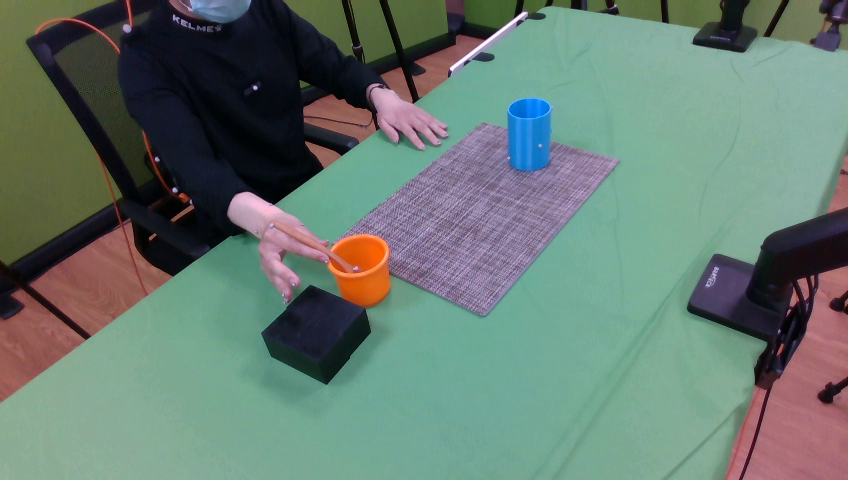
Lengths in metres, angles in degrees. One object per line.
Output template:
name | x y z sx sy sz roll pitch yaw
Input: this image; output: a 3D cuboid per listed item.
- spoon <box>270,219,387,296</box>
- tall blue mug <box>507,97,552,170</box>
spoon | -0.134 0.023 0.863 0.021 0.195 0.041 -33 28 41
tall blue mug | 0.179 -0.198 1.101 0.078 0.108 0.106 -36 49 -28
